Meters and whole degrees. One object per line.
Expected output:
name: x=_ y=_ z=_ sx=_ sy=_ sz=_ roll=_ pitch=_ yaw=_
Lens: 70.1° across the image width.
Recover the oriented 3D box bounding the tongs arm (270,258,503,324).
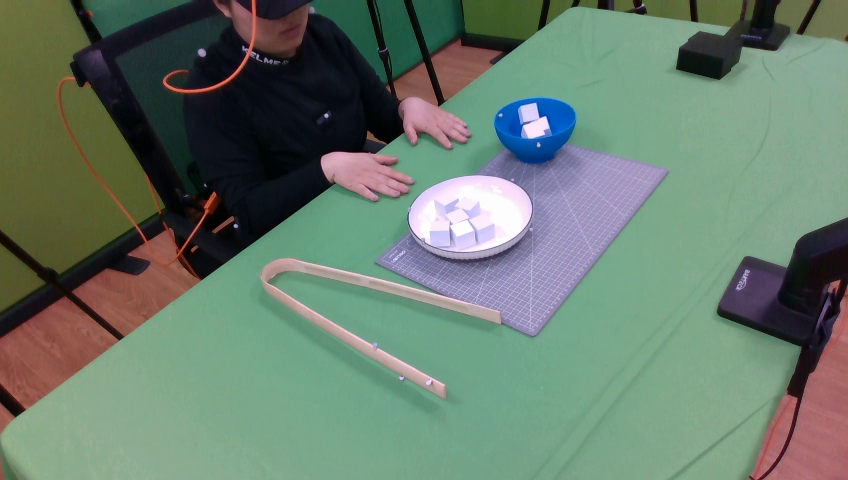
tongs arm: x=-0.066 y=0.074 z=0.904 sx=0.385 sy=0.028 sz=0.028 roll=11 pitch=47 yaw=23

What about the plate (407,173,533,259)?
plate: x=0.076 y=-0.037 z=0.997 sx=0.207 sy=0.039 sz=0.206 roll=-5 pitch=40 yaw=5

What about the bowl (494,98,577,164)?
bowl: x=0.207 y=-0.196 z=1.128 sx=0.151 sy=0.077 sz=0.150 roll=-5 pitch=40 yaw=5

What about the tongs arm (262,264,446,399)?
tongs arm: x=-0.110 y=0.118 z=0.855 sx=0.381 sy=0.026 sz=0.051 roll=21 pitch=48 yaw=33
